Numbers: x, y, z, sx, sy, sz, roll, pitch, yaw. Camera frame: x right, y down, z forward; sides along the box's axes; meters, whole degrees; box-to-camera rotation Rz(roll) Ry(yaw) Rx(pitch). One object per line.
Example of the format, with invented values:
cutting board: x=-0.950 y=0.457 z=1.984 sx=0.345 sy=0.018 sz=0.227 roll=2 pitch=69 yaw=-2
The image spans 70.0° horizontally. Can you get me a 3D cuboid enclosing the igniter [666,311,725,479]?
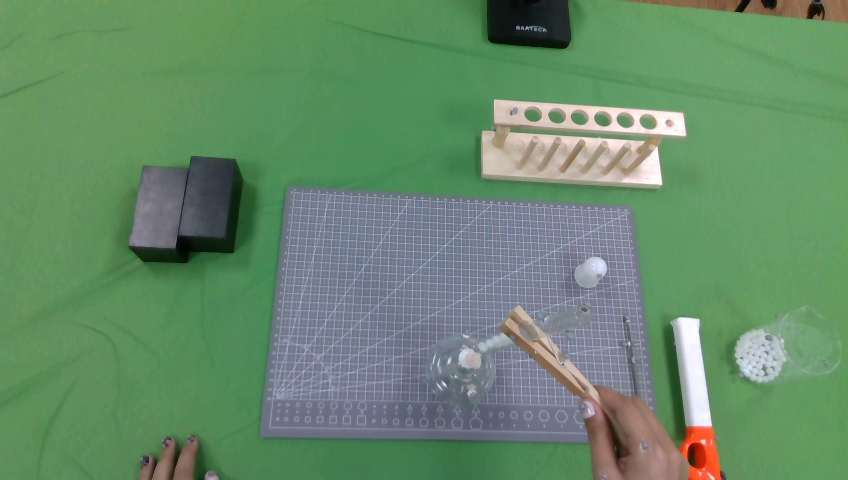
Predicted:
igniter: x=0.313 y=0.218 z=0.700 sx=0.057 sy=0.025 sz=0.274 roll=6 pitch=70 yaw=-15

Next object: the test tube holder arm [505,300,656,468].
test tube holder arm: x=0.131 y=0.121 z=0.506 sx=0.178 sy=0.015 sz=0.013 roll=48 pitch=59 yaw=0

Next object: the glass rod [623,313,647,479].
glass rod: x=0.247 y=0.183 z=0.711 sx=0.008 sy=0.008 sz=0.198 roll=2 pitch=70 yaw=-6

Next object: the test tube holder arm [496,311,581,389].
test tube holder arm: x=0.096 y=0.092 z=0.502 sx=0.088 sy=0.015 sz=0.010 roll=41 pitch=59 yaw=-4

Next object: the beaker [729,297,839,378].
beaker: x=0.415 y=0.118 z=0.710 sx=0.074 sy=0.101 sz=0.083 roll=16 pitch=68 yaw=-1

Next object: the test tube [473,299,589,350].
test tube: x=0.082 y=0.073 z=0.504 sx=0.017 sy=0.150 sz=0.017 roll=9 pitch=68 yaw=-24

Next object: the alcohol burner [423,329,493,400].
alcohol burner: x=0.039 y=0.129 z=0.649 sx=0.078 sy=0.120 sz=0.077 roll=2 pitch=67 yaw=-5

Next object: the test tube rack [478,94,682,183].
test tube rack: x=0.197 y=-0.128 z=0.779 sx=0.243 sy=0.085 sz=0.066 roll=3 pitch=70 yaw=-6

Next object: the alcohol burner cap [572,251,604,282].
alcohol burner cap: x=0.204 y=0.030 z=0.743 sx=0.034 sy=0.048 sz=0.033 roll=2 pitch=70 yaw=-6
